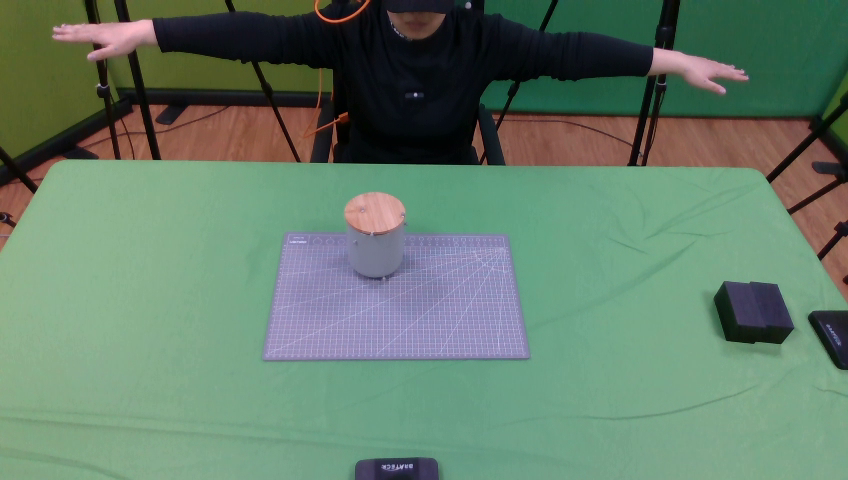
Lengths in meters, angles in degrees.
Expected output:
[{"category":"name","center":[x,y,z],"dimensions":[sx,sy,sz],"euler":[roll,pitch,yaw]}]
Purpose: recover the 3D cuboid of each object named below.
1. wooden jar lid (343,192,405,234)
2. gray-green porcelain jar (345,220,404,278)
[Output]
[{"category":"wooden jar lid","center":[-0.088,-0.044,1.072],"dimensions":[0.108,0.021,0.107],"euler":[4,45,-3]},{"category":"gray-green porcelain jar","center":[-0.091,-0.001,1.117],"dimensions":[0.106,0.127,0.105],"euler":[2,46,-2]}]
